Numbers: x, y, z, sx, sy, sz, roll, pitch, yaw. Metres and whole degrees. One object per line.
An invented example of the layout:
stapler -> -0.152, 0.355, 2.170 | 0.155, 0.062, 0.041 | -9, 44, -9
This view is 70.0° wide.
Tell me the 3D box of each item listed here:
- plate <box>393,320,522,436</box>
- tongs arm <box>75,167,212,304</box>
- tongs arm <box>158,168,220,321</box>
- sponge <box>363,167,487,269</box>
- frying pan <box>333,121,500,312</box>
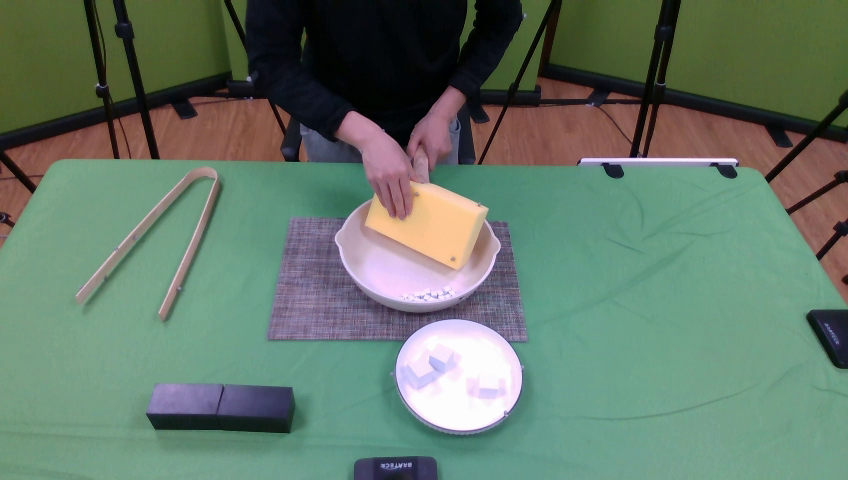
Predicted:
plate -> 0.053, 0.222, 0.979 | 0.208, 0.039, 0.206 | 2, 46, -2
tongs arm -> -0.526, -0.021, 1.167 | 0.051, 0.026, 0.383 | 13, 46, 7
tongs arm -> -0.446, -0.006, 1.163 | 0.028, 0.028, 0.385 | 1, 46, 1
sponge -> 0.000, -0.044, 1.143 | 0.206, 0.118, 0.061 | 24, 21, 15
frying pan -> -0.011, -0.063, 1.195 | 0.307, 0.103, 0.485 | 4, 55, -2
